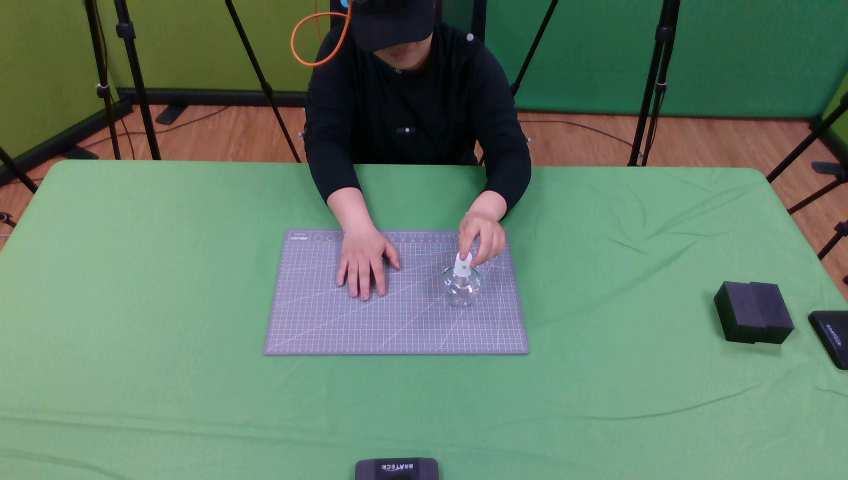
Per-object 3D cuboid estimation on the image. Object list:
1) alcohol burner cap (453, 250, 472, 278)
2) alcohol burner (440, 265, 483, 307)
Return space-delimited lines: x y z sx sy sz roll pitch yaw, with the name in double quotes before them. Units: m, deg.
"alcohol burner cap" 0.068 0.039 1.050 0.034 0.048 0.033 2 40 -2
"alcohol burner" 0.067 0.064 1.076 0.078 0.120 0.077 1 45 0
